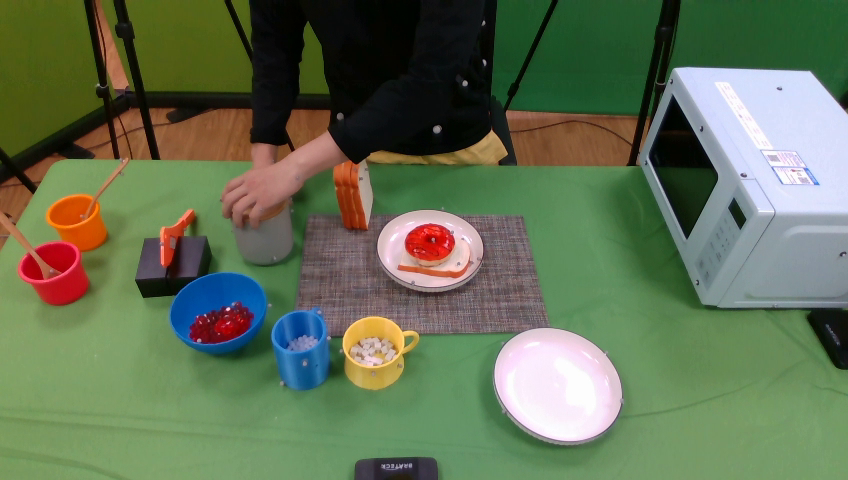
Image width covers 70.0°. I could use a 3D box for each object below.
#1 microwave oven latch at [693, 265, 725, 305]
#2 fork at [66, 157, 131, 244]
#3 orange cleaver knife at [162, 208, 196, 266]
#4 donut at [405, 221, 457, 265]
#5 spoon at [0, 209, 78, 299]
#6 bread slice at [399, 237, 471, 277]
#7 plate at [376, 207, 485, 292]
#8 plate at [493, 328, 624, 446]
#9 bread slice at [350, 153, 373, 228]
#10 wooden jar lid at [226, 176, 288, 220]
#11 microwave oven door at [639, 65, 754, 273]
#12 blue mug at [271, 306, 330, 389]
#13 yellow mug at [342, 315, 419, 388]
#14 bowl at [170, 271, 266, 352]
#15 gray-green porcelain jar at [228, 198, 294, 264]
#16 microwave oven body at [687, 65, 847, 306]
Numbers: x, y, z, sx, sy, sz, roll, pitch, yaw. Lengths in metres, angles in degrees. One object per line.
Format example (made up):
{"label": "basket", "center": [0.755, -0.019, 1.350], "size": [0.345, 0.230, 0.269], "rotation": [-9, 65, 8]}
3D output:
{"label": "microwave oven latch", "center": [0.522, 0.081, 1.115], "size": [0.030, 0.029, 0.078], "rotation": [2, 46, -1]}
{"label": "fork", "center": [-0.608, -0.074, 1.132], "size": [0.207, 0.019, 0.028], "rotation": [-52, 48, 10]}
{"label": "orange cleaver knife", "center": [-0.454, -0.010, 1.129], "size": [0.012, 0.077, 0.210], "rotation": [-1, 17, -6]}
{"label": "donut", "center": [0.013, 0.004, 1.136], "size": [0.099, 0.048, 0.098], "rotation": [0, 46, 0]}
{"label": "spoon", "center": [-0.668, 0.022, 1.040], "size": [0.041, 0.021, 0.194], "rotation": [-41, 105, -29]}
{"label": "bread slice", "center": [0.025, 0.025, 1.161], "size": [0.131, 0.019, 0.104], "rotation": [7, 47, 7]}
{"label": "plate", "center": [0.012, 0.021, 1.159], "size": [0.209, 0.038, 0.208], "rotation": [2, 47, -2]}
{"label": "plate", "center": [0.213, 0.236, 0.974], "size": [0.208, 0.039, 0.206], "rotation": [2, 46, -2]}
{"label": "bread slice", "center": [-0.125, -0.104, 1.207], "size": [0.018, 0.135, 0.106], "rotation": [0, 48, 6]}
{"label": "wooden jar lid", "center": [-0.296, -0.071, 1.079], "size": [0.108, 0.021, 0.107], "rotation": [-1, 47, 1]}
{"label": "microwave oven door", "center": [0.522, -0.147, 1.192], "size": [0.039, 0.245, 0.353], "rotation": [0, 47, -3]}
{"label": "blue mug", "center": [-0.188, 0.163, 0.969], "size": [0.082, 0.106, 0.116], "rotation": [15, 47, 10]}
{"label": "yellow mug", "center": [-0.068, 0.177, 0.991], "size": [0.131, 0.064, 0.099], "rotation": [-15, 50, -20]}
{"label": "bowl", "center": [-0.333, 0.132, 1.006], "size": [0.151, 0.077, 0.150], "rotation": [2, 46, -2]}
{"label": "gray-green porcelain jar", "center": [-0.299, -0.027, 1.126], "size": [0.106, 0.127, 0.105], "rotation": [2, 46, -2]}
{"label": "microwave oven body", "center": [0.669, -0.111, 1.176], "size": [0.326, 0.261, 0.439], "rotation": [0, 46, -3]}
